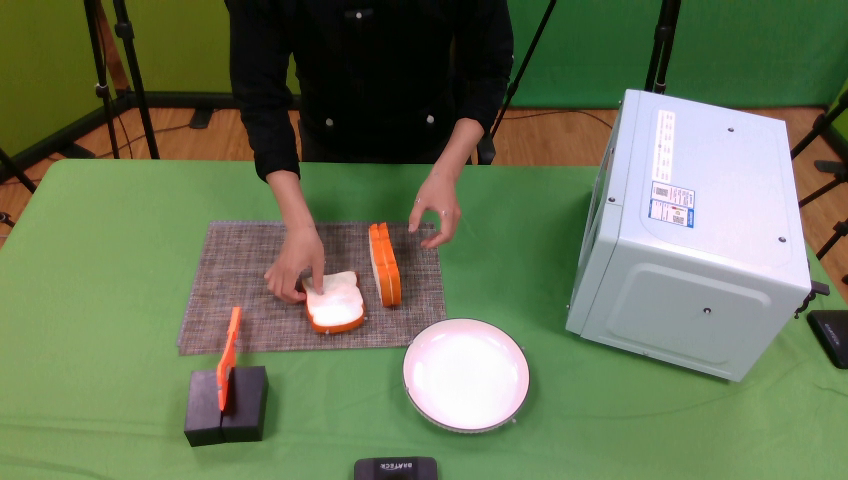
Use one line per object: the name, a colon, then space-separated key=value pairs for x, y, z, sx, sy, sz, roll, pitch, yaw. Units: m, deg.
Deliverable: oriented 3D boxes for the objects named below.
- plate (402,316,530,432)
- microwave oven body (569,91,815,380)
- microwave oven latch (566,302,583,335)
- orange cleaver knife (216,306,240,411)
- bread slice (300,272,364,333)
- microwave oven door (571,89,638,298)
plate: x=0.066 y=0.217 z=0.982 sx=0.208 sy=0.039 sz=0.206 roll=2 pitch=46 yaw=-2
microwave oven body: x=0.468 y=-0.022 z=1.082 sx=0.325 sy=0.261 sz=0.440 roll=15 pitch=46 yaw=11
microwave oven latch: x=0.268 y=0.126 z=1.059 sx=0.030 sy=0.029 sz=0.079 roll=16 pitch=46 yaw=12
orange cleaver knife: x=-0.307 y=0.180 z=0.957 sx=0.012 sy=0.077 sz=0.210 roll=-2 pitch=25 yaw=-8
bread slice: x=-0.163 y=0.110 z=1.073 sx=0.107 sy=0.018 sz=0.133 roll=-8 pitch=40 yaw=-10
microwave oven door: x=0.343 y=-0.091 z=1.132 sx=0.039 sy=0.245 sz=0.354 roll=15 pitch=47 yaw=10
